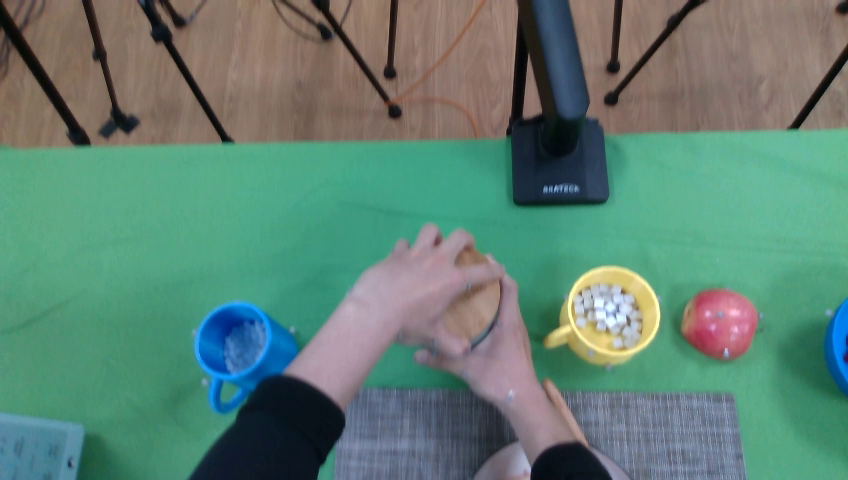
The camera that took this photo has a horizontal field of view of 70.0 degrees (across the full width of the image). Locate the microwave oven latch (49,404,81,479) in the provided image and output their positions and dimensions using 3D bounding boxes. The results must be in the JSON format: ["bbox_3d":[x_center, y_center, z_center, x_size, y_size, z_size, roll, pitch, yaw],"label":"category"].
[{"bbox_3d":[-0.411,0.227,0.677,0.030,0.030,0.078,6,72,6],"label":"microwave oven latch"}]

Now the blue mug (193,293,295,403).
[{"bbox_3d":[-0.206,0.127,0.682,0.082,0.106,0.116,20,73,11],"label":"blue mug"}]

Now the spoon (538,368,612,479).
[{"bbox_3d":[0.173,0.222,0.638,0.041,0.022,0.193,-25,79,-8],"label":"spoon"}]

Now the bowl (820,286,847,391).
[{"bbox_3d":[0.495,0.116,0.652,0.151,0.077,0.150,-1,71,4],"label":"bowl"}]

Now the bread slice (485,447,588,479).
[{"bbox_3d":[0.135,0.295,0.633,0.107,0.018,0.133,-17,71,-1],"label":"bread slice"}]

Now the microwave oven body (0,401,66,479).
[{"bbox_3d":[-0.569,0.362,0.539,0.326,0.262,0.439,0,71,4],"label":"microwave oven body"}]

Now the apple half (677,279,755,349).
[{"bbox_3d":[0.335,0.080,0.690,0.074,0.054,0.080,21,74,14],"label":"apple half"}]

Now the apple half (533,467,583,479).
[{"bbox_3d":[0.127,0.259,0.577,0.081,0.033,0.080,-3,68,8],"label":"apple half"}]

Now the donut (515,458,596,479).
[{"bbox_3d":[0.134,0.272,0.610,0.099,0.048,0.098,-1,70,3],"label":"donut"}]

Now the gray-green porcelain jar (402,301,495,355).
[{"bbox_3d":[0.026,0.068,0.675,0.106,0.127,0.105,-1,68,4],"label":"gray-green porcelain jar"}]

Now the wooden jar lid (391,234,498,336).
[{"bbox_3d":[0.021,0.046,0.618,0.108,0.021,0.107,-2,67,4],"label":"wooden jar lid"}]

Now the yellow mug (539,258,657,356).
[{"bbox_3d":[0.192,0.084,0.691,0.131,0.064,0.099,-23,70,-4],"label":"yellow mug"}]

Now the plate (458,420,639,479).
[{"bbox_3d":[0.130,0.296,0.632,0.207,0.039,0.206,-1,71,4],"label":"plate"}]
